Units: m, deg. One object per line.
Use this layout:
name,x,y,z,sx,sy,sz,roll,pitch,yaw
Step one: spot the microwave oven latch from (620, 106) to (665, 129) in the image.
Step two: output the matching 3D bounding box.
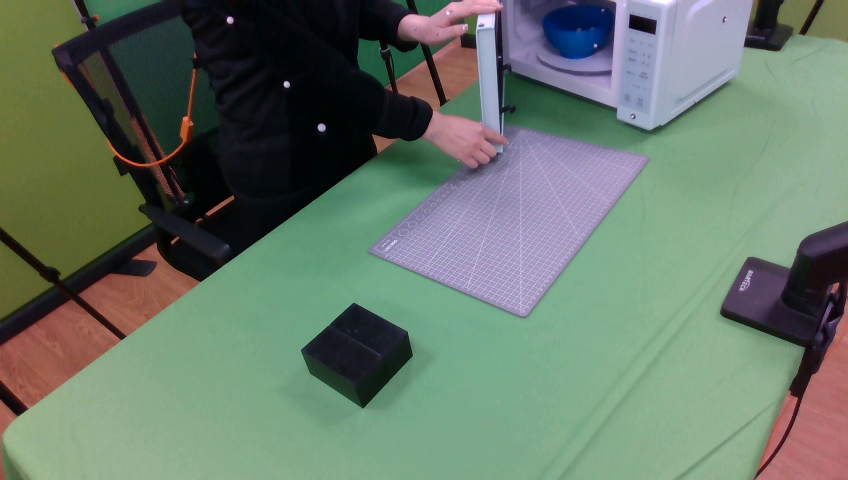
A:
microwave oven latch,0.413,-0.236,1.146,0.030,0.029,0.078,-32,44,-23

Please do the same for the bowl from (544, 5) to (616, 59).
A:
bowl,0.332,-0.441,1.302,0.151,0.077,0.150,-3,39,3

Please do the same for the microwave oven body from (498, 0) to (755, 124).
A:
microwave oven body,0.402,-0.458,1.259,0.327,0.261,0.437,-33,45,-24

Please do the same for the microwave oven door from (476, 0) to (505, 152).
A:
microwave oven door,0.135,-0.373,1.203,0.039,0.245,0.354,-1,41,9
